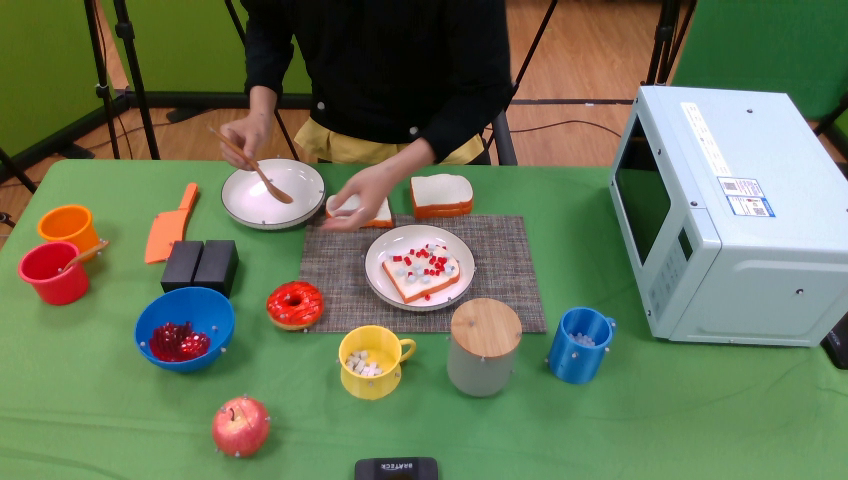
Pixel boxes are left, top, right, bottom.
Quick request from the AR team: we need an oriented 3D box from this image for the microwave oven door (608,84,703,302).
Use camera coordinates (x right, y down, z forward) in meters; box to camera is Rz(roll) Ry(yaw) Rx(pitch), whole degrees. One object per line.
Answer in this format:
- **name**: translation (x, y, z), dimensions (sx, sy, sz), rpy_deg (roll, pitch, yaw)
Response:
- **microwave oven door**: translation (0.424, -0.096, 1.137), dimensions (0.039, 0.245, 0.353), rpy_deg (3, 46, -1)

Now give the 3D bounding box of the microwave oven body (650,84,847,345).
- **microwave oven body**: translation (0.569, -0.054, 1.116), dimensions (0.326, 0.261, 0.439), rpy_deg (2, 46, -1)

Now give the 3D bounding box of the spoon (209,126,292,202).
- **spoon**: translation (-0.311, -0.136, 1.094), dimensions (0.021, 0.195, 0.041), rpy_deg (-34, 30, 9)

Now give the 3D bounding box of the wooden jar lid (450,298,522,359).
- **wooden jar lid**: translation (0.093, 0.135, 0.914), dimensions (0.108, 0.021, 0.107), rpy_deg (2, 49, -3)

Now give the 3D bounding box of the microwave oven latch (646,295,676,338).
- **microwave oven latch**: translation (0.413, 0.133, 1.061), dimensions (0.030, 0.029, 0.078), rpy_deg (4, 46, 1)

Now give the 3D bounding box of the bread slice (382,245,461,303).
- **bread slice**: translation (0.001, 0.055, 1.129), dimensions (0.131, 0.019, 0.104), rpy_deg (-21, 52, -20)

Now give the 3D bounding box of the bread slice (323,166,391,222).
- **bread slice**: translation (-0.140, -0.092, 1.224), dimensions (0.134, 0.018, 0.106), rpy_deg (-19, 50, 5)

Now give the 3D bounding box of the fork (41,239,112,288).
- **fork**: translation (-0.591, 0.040, 1.028), dimensions (0.207, 0.019, 0.028), rpy_deg (-27, 36, 29)

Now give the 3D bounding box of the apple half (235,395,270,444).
- **apple half**: translation (-0.245, 0.260, 0.893), dimensions (0.033, 0.082, 0.081), rpy_deg (-29, 55, -22)

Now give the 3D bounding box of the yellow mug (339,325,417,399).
- **yellow mug**: translation (-0.072, 0.191, 0.978), dimensions (0.131, 0.064, 0.099), rpy_deg (-17, 49, -20)

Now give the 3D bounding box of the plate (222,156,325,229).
- **plate**: translation (-0.308, -0.095, 1.251), dimensions (0.209, 0.038, 0.208), rpy_deg (2, 47, -2)

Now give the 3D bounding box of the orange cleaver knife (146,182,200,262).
- **orange cleaver knife**: translation (-0.494, -0.039, 1.198), dimensions (0.077, 0.012, 0.210), rpy_deg (-3, 48, 2)

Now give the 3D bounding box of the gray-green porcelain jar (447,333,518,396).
- **gray-green porcelain jar**: translation (0.091, 0.178, 0.960), dimensions (0.106, 0.127, 0.105), rpy_deg (2, 46, -2)

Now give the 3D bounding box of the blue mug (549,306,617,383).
- **blue mug**: translation (0.269, 0.167, 0.997), dimensions (0.116, 0.106, 0.082), rpy_deg (-19, 50, -21)

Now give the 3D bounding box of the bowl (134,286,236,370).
- **bowl**: translation (-0.377, 0.156, 0.981), dimensions (0.151, 0.077, 0.150), rpy_deg (2, 46, -2)

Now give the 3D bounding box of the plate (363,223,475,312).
- **plate**: translation (-0.009, 0.054, 1.126), dimensions (0.208, 0.039, 0.206), rpy_deg (2, 46, -2)

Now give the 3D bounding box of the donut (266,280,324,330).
- **donut**: translation (-0.223, 0.112, 1.051), dimensions (0.099, 0.048, 0.098), rpy_deg (2, 45, -2)

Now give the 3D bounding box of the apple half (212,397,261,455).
- **apple half**: translation (-0.276, 0.276, 0.877), dimensions (0.053, 0.075, 0.080), rpy_deg (-29, 58, -21)
